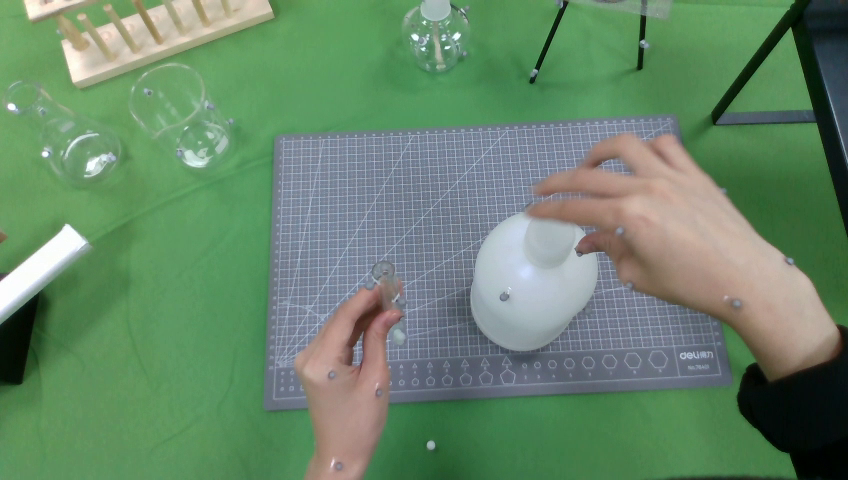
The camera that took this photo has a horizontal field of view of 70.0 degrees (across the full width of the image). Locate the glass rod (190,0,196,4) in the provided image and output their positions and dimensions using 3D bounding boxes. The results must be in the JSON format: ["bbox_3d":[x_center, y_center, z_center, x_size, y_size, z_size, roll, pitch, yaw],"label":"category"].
[{"bbox_3d":[-0.289,-0.328,0.638,0.008,0.201,0.008,-3,64,6],"label":"glass rod"}]

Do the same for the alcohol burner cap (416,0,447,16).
[{"bbox_3d":[0.007,-0.261,0.629,0.034,0.048,0.033,0,70,0],"label":"alcohol burner cap"}]

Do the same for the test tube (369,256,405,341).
[{"bbox_3d":[-0.025,0.049,0.455,0.017,0.151,0.017,-1,64,2],"label":"test tube"}]

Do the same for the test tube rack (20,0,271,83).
[{"bbox_3d":[-0.309,-0.270,0.689,0.242,0.086,0.066,-23,72,-7],"label":"test tube rack"}]

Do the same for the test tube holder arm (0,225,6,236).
[{"bbox_3d":[-0.441,0.017,0.576,0.010,0.015,0.087,41,75,13],"label":"test tube holder arm"}]

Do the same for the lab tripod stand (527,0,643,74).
[{"bbox_3d":[0.179,-0.254,0.652,0.148,0.132,0.147,0,69,0],"label":"lab tripod stand"}]

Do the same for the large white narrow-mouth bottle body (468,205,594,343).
[{"bbox_3d":[0.091,0.026,0.521,0.102,0.196,0.101,0,72,2],"label":"large white narrow-mouth bottle body"}]

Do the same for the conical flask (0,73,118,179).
[{"bbox_3d":[-0.376,-0.120,0.618,0.075,0.122,0.075,0,70,1],"label":"conical flask"}]

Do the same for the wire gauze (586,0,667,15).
[{"bbox_3d":[0.185,-0.279,0.589,0.121,0.011,0.124,18,73,5],"label":"wire gauze"}]

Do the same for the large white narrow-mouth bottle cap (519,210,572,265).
[{"bbox_3d":[0.088,-0.002,0.436,0.038,0.024,0.037,0,72,1],"label":"large white narrow-mouth bottle cap"}]

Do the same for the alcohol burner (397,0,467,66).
[{"bbox_3d":[0.009,-0.247,0.663,0.078,0.120,0.077,0,69,0],"label":"alcohol burner"}]

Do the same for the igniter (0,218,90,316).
[{"bbox_3d":[-0.428,0.084,0.549,0.057,0.025,0.276,40,73,11],"label":"igniter"}]

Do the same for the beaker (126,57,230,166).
[{"bbox_3d":[-0.251,-0.126,0.631,0.074,0.101,0.083,12,71,6],"label":"beaker"}]
